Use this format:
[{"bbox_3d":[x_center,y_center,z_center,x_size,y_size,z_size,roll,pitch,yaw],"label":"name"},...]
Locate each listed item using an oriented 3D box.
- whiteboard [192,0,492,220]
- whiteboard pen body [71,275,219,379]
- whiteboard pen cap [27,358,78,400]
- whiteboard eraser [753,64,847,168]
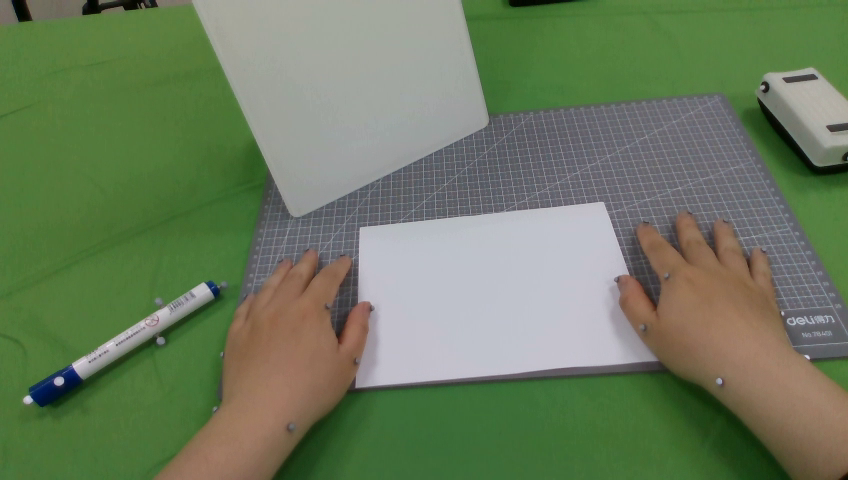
[{"bbox_3d":[-0.096,-0.215,0.543,0.217,0.308,0.142,-28,31,-16],"label":"whiteboard"},{"bbox_3d":[-0.219,0.070,0.458,0.141,0.017,0.017,-36,54,-24],"label":"whiteboard pen body"},{"bbox_3d":[-0.264,0.098,0.435,0.033,0.018,0.018,-36,54,-24],"label":"whiteboard pen cap"},{"bbox_3d":[0.344,-0.110,0.537,0.055,0.042,0.111,-10,49,0],"label":"whiteboard eraser"}]
